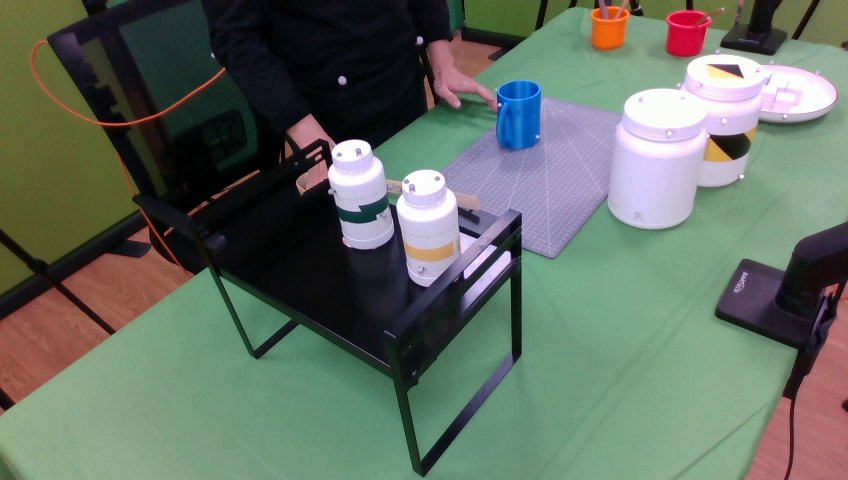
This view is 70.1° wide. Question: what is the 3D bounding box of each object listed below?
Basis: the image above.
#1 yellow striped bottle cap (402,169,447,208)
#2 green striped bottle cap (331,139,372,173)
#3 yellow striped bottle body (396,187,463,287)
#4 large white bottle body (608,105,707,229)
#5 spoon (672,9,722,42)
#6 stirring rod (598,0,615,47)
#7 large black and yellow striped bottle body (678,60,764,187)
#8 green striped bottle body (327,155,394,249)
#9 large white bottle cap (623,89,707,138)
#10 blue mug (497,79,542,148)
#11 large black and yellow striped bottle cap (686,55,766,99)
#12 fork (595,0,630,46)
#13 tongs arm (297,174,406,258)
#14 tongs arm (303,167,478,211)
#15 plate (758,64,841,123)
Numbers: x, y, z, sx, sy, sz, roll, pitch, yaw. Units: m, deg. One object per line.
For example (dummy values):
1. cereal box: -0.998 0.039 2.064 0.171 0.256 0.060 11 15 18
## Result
1. yellow striped bottle cap: 0.000 -0.052 0.605 0.044 0.019 0.044 -5 42 5
2. green striped bottle cap: -0.080 -0.093 0.665 0.044 0.020 0.044 -3 41 3
3. yellow striped bottle body: 0.006 -0.013 0.638 0.063 0.121 0.062 -5 41 5
4. large white bottle body: 0.361 -0.124 0.941 0.130 0.185 0.130 -5 41 4
5. spoon: 0.606 -0.476 1.345 0.042 0.021 0.193 -6 -3 -2
6. stirring rod: 0.437 -0.551 1.462 0.014 0.006 0.175 -11 83 1
7. large black and yellow striped bottle body: 0.482 -0.196 1.008 0.131 0.185 0.130 -4 41 4
8. green striped bottle body: -0.073 -0.053 0.699 0.063 0.120 0.063 -5 41 4
9. large white bottle cap: 0.352 -0.187 0.886 0.115 0.018 0.114 -4 41 4
10. blue mug: 0.175 -0.234 1.156 0.081 0.106 0.117 24 50 32
11. large black and yellow striped bottle cap: 0.474 -0.258 0.952 0.115 0.019 0.114 -5 41 5
12. fork: 0.480 -0.556 1.453 0.028 0.019 0.207 41 103 40
13. tongs arm: -0.128 -0.044 1.009 0.028 0.028 0.384 -37 38 -19
14. tongs arm: -0.073 -0.086 1.048 0.381 0.027 0.051 17 48 39
15. plate: 0.694 -0.283 1.189 0.207 0.039 0.206 -4 40 4
